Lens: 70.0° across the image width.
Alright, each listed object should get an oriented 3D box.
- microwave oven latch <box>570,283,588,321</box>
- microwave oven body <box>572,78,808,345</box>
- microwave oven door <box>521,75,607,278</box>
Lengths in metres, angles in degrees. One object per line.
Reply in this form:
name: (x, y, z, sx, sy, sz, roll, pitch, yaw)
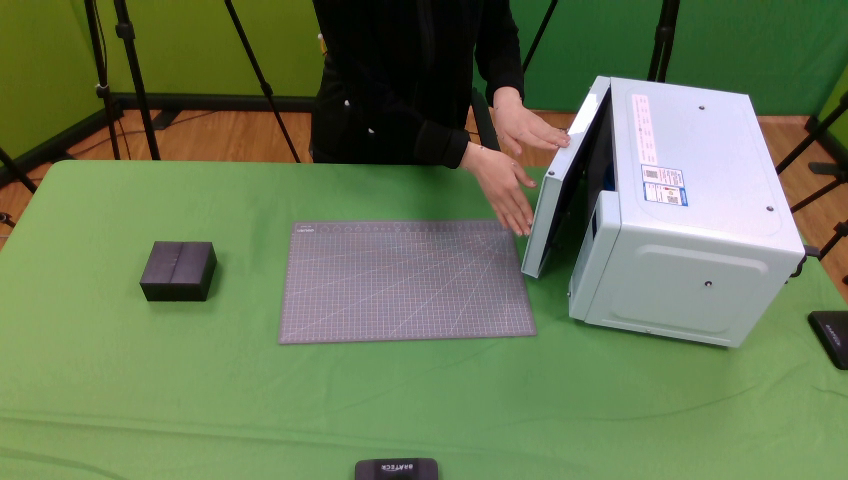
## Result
microwave oven latch: (0.276, 0.105, 1.082, 0.030, 0.029, 0.079, 10, 45, 6)
microwave oven body: (0.456, -0.063, 1.125, 0.326, 0.261, 0.439, 8, 45, 5)
microwave oven door: (0.276, -0.130, 1.168, 0.039, 0.245, 0.354, 20, 48, 15)
